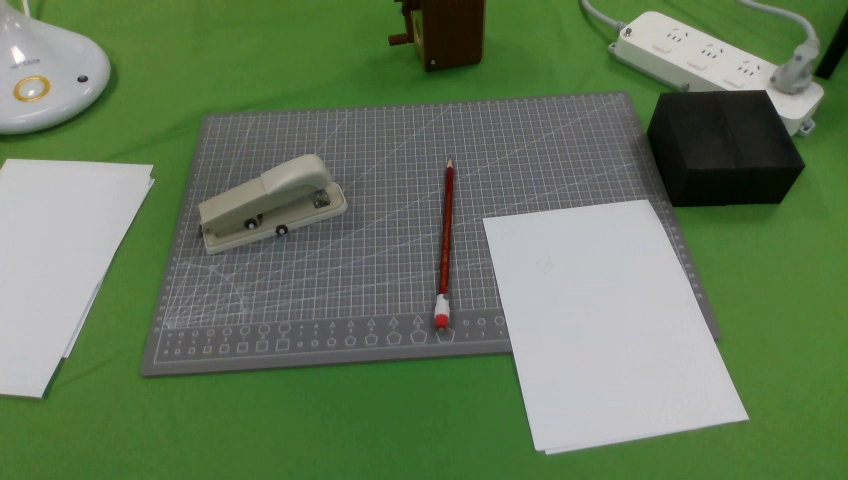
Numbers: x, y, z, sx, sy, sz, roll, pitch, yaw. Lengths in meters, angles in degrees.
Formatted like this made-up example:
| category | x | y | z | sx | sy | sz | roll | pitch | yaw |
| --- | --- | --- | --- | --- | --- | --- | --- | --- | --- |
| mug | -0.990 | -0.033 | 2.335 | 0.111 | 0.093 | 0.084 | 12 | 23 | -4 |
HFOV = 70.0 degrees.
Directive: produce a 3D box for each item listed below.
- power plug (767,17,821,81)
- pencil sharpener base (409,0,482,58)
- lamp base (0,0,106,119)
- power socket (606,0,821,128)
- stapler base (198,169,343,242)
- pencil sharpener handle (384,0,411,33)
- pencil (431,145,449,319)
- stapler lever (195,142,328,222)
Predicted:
| category | x | y | z | sx | sy | sz | roll | pitch | yaw |
| --- | --- | --- | --- | --- | --- | --- | --- | --- | --- |
| power plug | 0.374 | -0.181 | 0.603 | 0.072 | 0.053 | 0.035 | -31 | 59 | -18 |
| pencil sharpener base | 0.018 | -0.260 | 0.652 | 0.077 | 0.108 | 0.060 | -13 | 55 | -7 |
| lamp base | -0.441 | -0.242 | 0.605 | 0.161 | 0.182 | 0.177 | -30 | 56 | -19 |
| power socket | 0.302 | -0.191 | 0.641 | 0.225 | 0.033 | 0.072 | 38 | 63 | 26 |
| stapler base | -0.139 | -0.038 | 0.545 | 0.131 | 0.024 | 0.041 | -20 | 55 | -10 |
| pencil sharpener handle | -0.031 | -0.252 | 0.631 | 0.031 | 0.068 | 0.035 | -13 | 33 | -7 |
| pencil | 0.016 | -0.016 | 0.534 | 0.012 | 0.012 | 0.192 | 1 | 53 | 3 |
| stapler lever | -0.141 | -0.051 | 0.524 | 0.118 | 0.040 | 0.026 | -19 | 54 | -11 |
